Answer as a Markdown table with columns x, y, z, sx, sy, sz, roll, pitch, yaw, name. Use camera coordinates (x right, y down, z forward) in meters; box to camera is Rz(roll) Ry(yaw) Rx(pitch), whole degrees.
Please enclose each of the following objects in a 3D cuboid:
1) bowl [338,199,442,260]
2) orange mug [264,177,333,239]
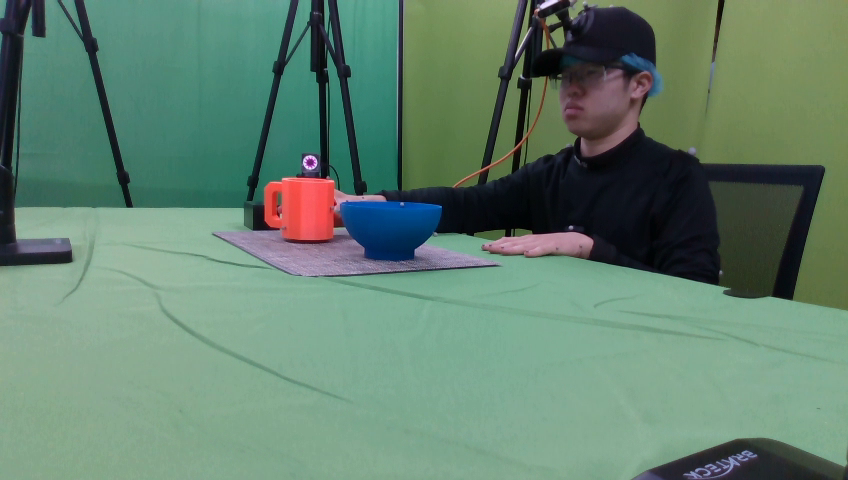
| x | y | z | sx | sy | sz | roll | pitch | yaw | name |
| --- | --- | --- | --- | --- | --- | --- | --- | --- | --- |
| -0.050 | -0.015 | 0.878 | 0.151 | 0.077 | 0.151 | 2 | 8 | 0 | bowl |
| -0.211 | -0.058 | 1.011 | 0.126 | 0.100 | 0.084 | 11 | 11 | 18 | orange mug |
